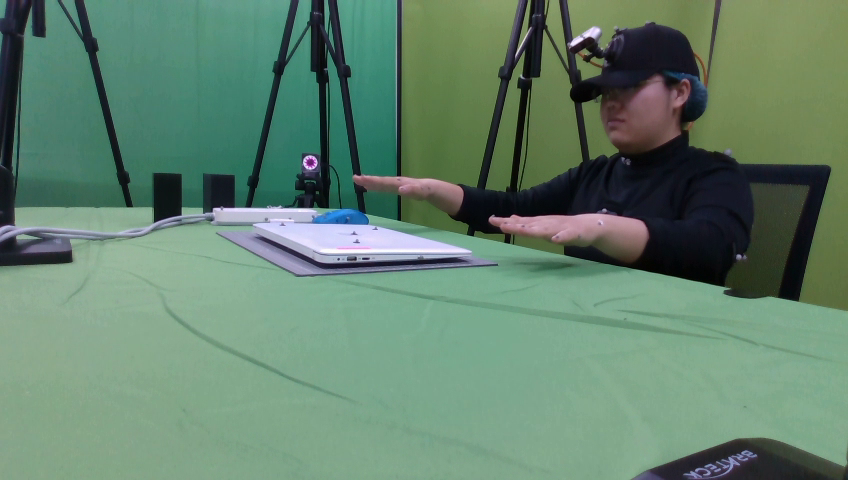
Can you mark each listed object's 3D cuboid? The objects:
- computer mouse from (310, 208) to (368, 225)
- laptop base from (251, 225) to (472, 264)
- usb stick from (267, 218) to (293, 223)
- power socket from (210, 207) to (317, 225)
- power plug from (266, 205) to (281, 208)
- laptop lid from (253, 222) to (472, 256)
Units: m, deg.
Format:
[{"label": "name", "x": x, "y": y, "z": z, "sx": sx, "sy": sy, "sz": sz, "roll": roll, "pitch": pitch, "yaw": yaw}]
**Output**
[{"label": "computer mouse", "x": -0.179, "y": -0.045, "z": 1.274, "sx": 0.118, "sy": 0.041, "sz": 0.062, "roll": -6, "pitch": 13, "yaw": -29}, {"label": "laptop base", "x": -0.116, "y": 0.007, "z": 0.955, "sx": 0.237, "sy": 0.023, "sz": 0.352, "roll": 2, "pitch": 6, "yaw": -31}, {"label": "usb stick", "x": -0.272, "y": -0.026, "z": 1.107, "sx": 0.059, "sy": 0.027, "sz": 0.021, "roll": -3, "pitch": 11, "yaw": -27}, {"label": "power socket", "x": -0.335, "y": -0.051, "z": 1.282, "sx": 0.228, "sy": 0.032, "sz": 0.072, "roll": -1, "pitch": 9, "yaw": -28}, {"label": "power plug", "x": -0.344, "y": -0.056, "z": 1.364, "sx": 0.053, "sy": 0.035, "sz": 0.072, "roll": -22, "pitch": -9, "yaw": -15}, {"label": "laptop lid", "x": -0.113, "y": -0.005, "z": 0.955, "sx": 0.243, "sy": 0.013, "sz": 0.355, "roll": 1, "pitch": 7, "yaw": -29}]
